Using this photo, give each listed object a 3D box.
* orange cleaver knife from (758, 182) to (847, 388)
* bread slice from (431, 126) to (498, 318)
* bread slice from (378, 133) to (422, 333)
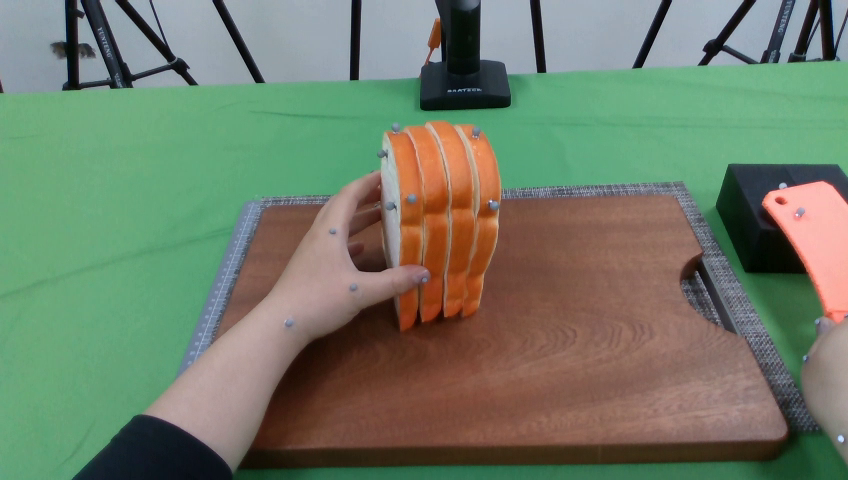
[{"bbox_3d":[0.322,0.031,0.466,0.077,0.012,0.209,1,51,3],"label":"orange cleaver knife"},{"bbox_3d":[0.030,-0.019,0.471,0.019,0.132,0.103,-4,42,-14],"label":"bread slice"},{"bbox_3d":[-0.020,-0.014,0.468,0.018,0.135,0.106,-6,37,-11],"label":"bread slice"}]
